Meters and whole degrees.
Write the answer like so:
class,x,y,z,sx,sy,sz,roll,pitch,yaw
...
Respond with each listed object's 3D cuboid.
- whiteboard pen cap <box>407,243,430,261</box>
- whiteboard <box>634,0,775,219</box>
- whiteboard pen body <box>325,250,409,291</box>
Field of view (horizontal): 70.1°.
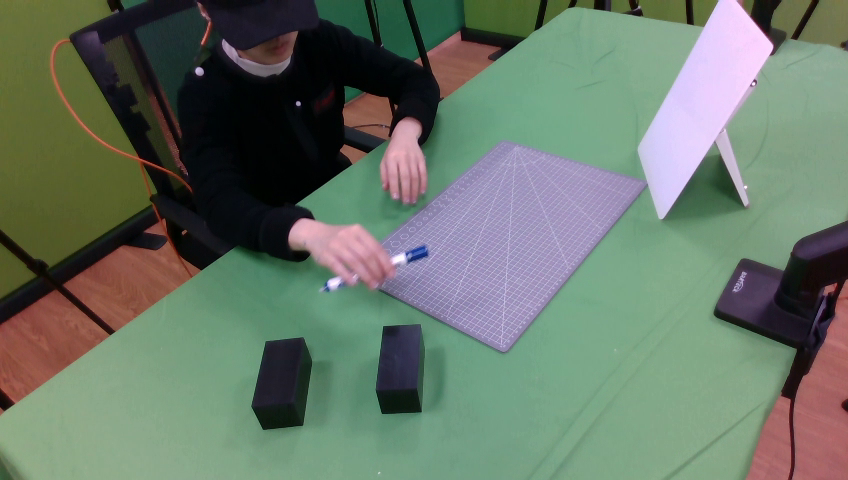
class,x,y,z,sx,sy,sz,roll,pitch,yaw
whiteboard pen cap,-0.009,0.016,0.807,0.033,0.018,0.018,-20,42,-7
whiteboard,0.485,-0.193,0.957,0.144,0.305,0.216,14,41,-4
whiteboard pen body,-0.064,0.036,0.800,0.141,0.017,0.017,-21,42,-7
